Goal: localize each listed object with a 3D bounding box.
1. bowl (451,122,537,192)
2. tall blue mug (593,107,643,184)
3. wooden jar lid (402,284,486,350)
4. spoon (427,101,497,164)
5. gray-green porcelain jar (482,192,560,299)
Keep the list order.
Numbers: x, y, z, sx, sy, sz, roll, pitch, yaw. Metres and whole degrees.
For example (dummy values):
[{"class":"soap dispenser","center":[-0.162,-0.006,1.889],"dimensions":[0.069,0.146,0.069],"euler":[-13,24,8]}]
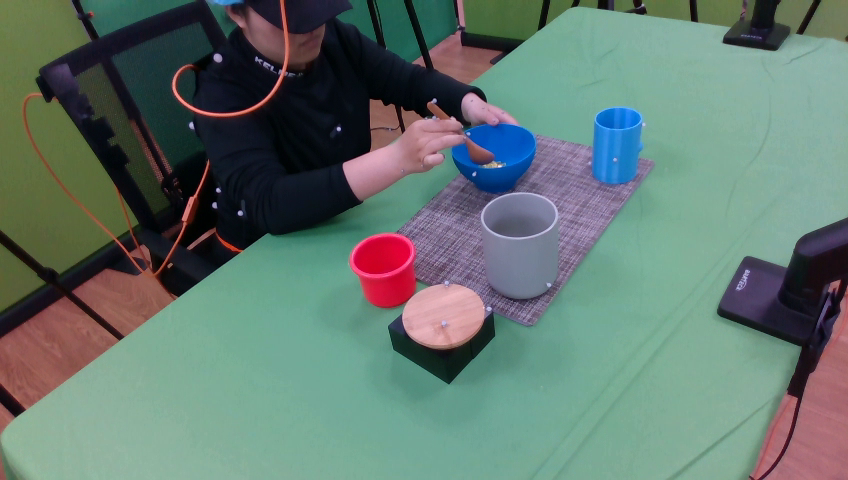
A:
[{"class":"bowl","center":[0.127,-0.138,1.077],"dimensions":[0.151,0.077,0.150],"euler":[-6,40,5]},{"class":"tall blue mug","center":[0.330,-0.172,1.052],"dimensions":[0.078,0.108,0.106],"euler":[-12,40,0]},{"class":"wooden jar lid","center":[0.027,0.101,0.786],"dimensions":[0.108,0.021,0.108],"euler":[-5,39,4]},{"class":"spoon","center":[0.060,-0.170,0.977],"dimensions":[0.041,0.195,0.021],"euler":[-18,55,30]},{"class":"gray-green porcelain jar","center":[0.139,0.012,0.858],"dimensions":[0.106,0.127,0.105],"euler":[-6,40,5]}]
